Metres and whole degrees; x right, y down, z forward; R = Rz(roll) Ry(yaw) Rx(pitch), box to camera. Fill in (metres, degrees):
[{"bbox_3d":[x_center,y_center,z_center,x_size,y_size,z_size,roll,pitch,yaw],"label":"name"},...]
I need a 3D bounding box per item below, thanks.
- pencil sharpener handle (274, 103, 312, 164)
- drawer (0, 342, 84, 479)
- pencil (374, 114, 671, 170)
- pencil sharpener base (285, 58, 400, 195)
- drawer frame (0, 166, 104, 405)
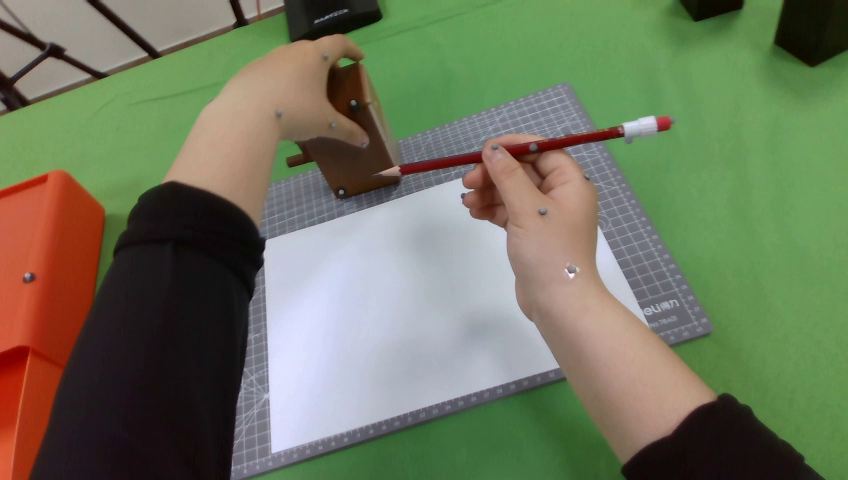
[{"bbox_3d":[-0.127,-0.095,0.562,0.030,0.068,0.035,-17,59,6],"label":"pencil sharpener handle"},{"bbox_3d":[-0.398,0.146,0.508,0.194,0.074,0.209,-19,52,3],"label":"drawer"},{"bbox_3d":[0.060,-0.062,0.397,0.194,0.012,0.012,-8,54,9],"label":"pencil"},{"bbox_3d":[-0.075,-0.101,0.566,0.076,0.108,0.060,-17,53,5],"label":"pencil sharpener base"},{"bbox_3d":[-0.426,0.056,0.577,0.201,0.083,0.211,-19,52,3],"label":"drawer frame"}]
